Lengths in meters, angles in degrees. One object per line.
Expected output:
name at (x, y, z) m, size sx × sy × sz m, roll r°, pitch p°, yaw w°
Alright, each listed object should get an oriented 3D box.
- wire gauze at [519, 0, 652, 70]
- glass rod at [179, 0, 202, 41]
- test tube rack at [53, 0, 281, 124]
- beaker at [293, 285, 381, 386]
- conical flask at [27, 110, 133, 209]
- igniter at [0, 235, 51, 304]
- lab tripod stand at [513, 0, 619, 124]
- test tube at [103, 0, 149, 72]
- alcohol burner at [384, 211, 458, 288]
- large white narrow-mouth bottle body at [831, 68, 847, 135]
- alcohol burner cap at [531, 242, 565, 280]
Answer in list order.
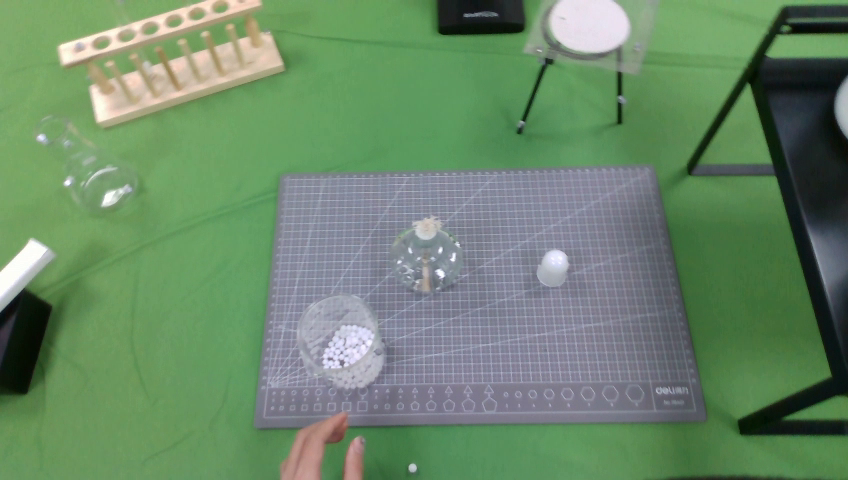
wire gauze at (0.178, -0.241, 0.653) m, size 0.121 × 0.011 × 0.124 m, roll 19°, pitch 67°, yaw 8°
glass rod at (-0.293, -0.296, 0.715) m, size 0.008 × 0.201 × 0.008 m, roll -4°, pitch 58°, yaw 6°
test tube rack at (-0.314, -0.234, 0.760) m, size 0.242 × 0.086 × 0.066 m, roll -21°, pitch 66°, yaw -9°
beaker at (-0.082, 0.100, 0.587) m, size 0.073 × 0.101 × 0.083 m, roll 26°, pitch 68°, yaw 14°
conical flask at (-0.387, -0.093, 0.674) m, size 0.075 × 0.123 × 0.074 m, roll -1°, pitch 64°, yaw 1°
igniter at (-0.474, 0.109, 0.581) m, size 0.057 × 0.025 × 0.275 m, roll 25°, pitch 66°, yaw 22°
lab tripod stand at (0.172, -0.210, 0.713) m, size 0.148 × 0.132 × 0.147 m, roll 0°, pitch 63°, yaw 0°
test tube at (-0.357, -0.256, 0.716) m, size 0.017 × 0.151 × 0.017 m, roll 1°, pitch 61°, yaw -2°
alcohol burner at (-0.003, 0.004, 0.623) m, size 0.078 × 0.120 × 0.077 m, roll 0°, pitch 63°, yaw 0°
large white narrow-mouth bottle body at (0.403, -0.151, 0.449) m, size 0.102 × 0.196 × 0.101 m, roll -1°, pitch 64°, yaw 2°
alcohol burner cap at (0.135, 0.020, 0.653) m, size 0.034 × 0.048 × 0.033 m, roll 0°, pitch 64°, yaw 1°
